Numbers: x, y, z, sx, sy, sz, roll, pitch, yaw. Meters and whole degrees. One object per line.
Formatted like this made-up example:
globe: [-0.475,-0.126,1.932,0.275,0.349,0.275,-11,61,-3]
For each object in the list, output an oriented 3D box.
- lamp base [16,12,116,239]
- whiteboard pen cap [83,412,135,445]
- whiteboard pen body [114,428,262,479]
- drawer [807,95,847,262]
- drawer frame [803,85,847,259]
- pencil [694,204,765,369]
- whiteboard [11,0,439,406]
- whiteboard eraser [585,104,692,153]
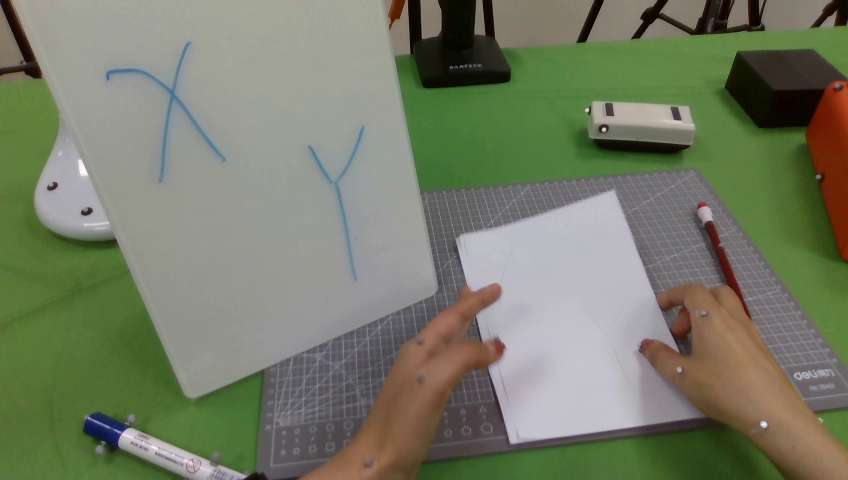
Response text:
lamp base: [-0.324,-0.117,0.579,0.178,0.182,0.160,23,47,26]
whiteboard pen cap: [-0.221,0.133,0.427,0.033,0.018,0.018,14,44,18]
whiteboard pen body: [-0.168,0.149,0.410,0.140,0.017,0.017,14,44,16]
drawer: [0.501,-0.053,0.585,0.194,0.074,0.210,11,43,12]
drawer frame: [0.502,-0.057,0.587,0.201,0.083,0.212,10,43,11]
pencil: [0.270,0.033,0.539,0.012,0.012,0.192,2,45,2]
whiteboard: [-0.136,-0.070,0.479,0.217,0.308,0.142,-21,27,-20]
whiteboard eraser: [0.244,-0.127,0.694,0.112,0.042,0.055,6,44,6]
